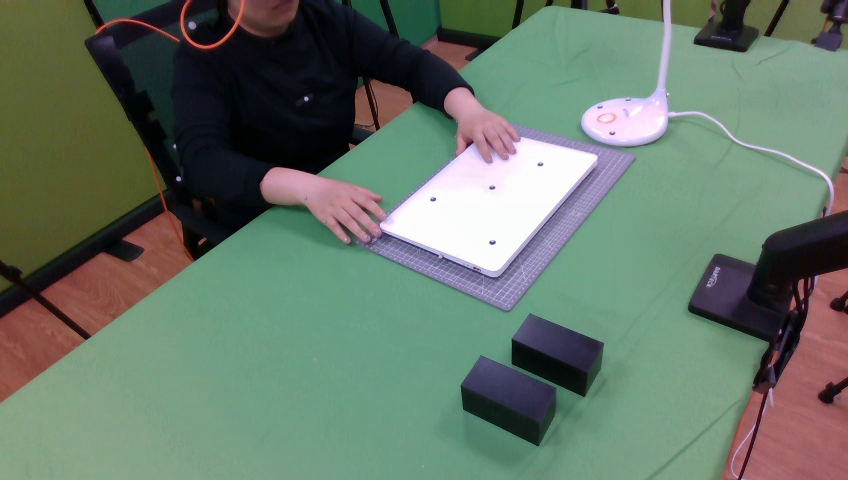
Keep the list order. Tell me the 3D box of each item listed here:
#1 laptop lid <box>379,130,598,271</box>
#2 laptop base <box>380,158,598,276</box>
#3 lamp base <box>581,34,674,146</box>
[{"bbox_3d":[0.117,-0.087,1.037,0.240,0.013,0.358,22,48,33],"label":"laptop lid"},{"bbox_3d":[0.120,-0.077,1.043,0.233,0.023,0.355,19,47,33],"label":"laptop base"},{"bbox_3d":[0.392,-0.291,1.129,0.180,0.181,0.159,-11,41,-8],"label":"lamp base"}]
